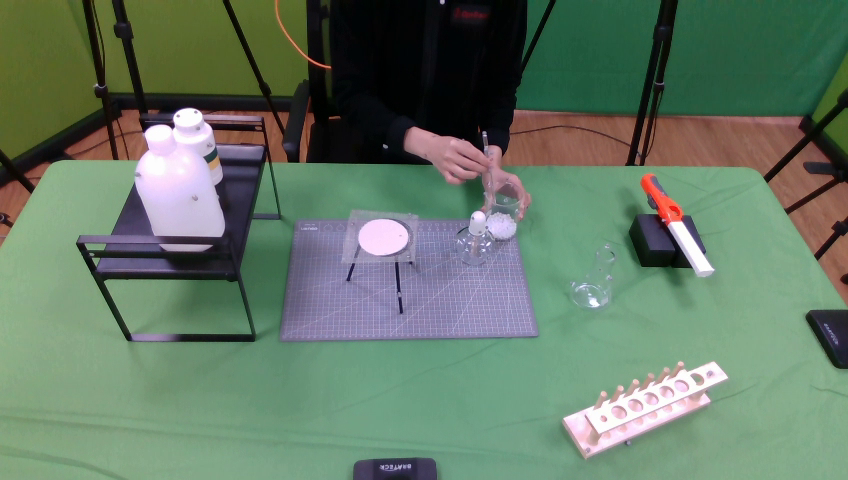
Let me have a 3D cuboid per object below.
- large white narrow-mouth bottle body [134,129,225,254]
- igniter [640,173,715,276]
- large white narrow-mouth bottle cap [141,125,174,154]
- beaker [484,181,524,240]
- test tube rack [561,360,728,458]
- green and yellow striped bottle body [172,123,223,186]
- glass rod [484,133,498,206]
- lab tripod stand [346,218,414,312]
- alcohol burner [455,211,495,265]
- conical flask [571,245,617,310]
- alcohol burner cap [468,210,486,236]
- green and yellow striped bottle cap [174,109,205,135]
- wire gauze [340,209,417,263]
[{"bbox_3d":[-0.358,-0.076,0.875,0.102,0.195,0.101,1,47,-1],"label":"large white narrow-mouth bottle body"},{"bbox_3d":[0.495,-0.039,1.204,0.057,0.025,0.274,-2,47,-12],"label":"igniter"},{"bbox_3d":[-0.356,-0.134,0.811,0.038,0.024,0.037,1,47,-1],"label":"large white narrow-mouth bottle cap"},{"bbox_3d":[0.157,-0.057,1.205,0.074,0.101,0.084,23,49,20],"label":"beaker"},{"bbox_3d":[0.341,0.247,0.940,0.243,0.085,0.066,-15,49,-18],"label":"test tube rack"},{"bbox_3d":[-0.373,-0.148,0.994,0.063,0.120,0.063,2,46,-2],"label":"green and yellow striped bottle body"},{"bbox_3d":[0.125,-0.125,1.117,0.008,0.201,0.008,-6,54,9],"label":"glass rod"},{"bbox_3d":[-0.070,0.037,1.075,0.148,0.132,0.147,1,47,-1],"label":"lab tripod stand"},{"bbox_3d":[0.097,-0.010,1.147,0.078,0.120,0.077,1,47,-1],"label":"alcohol burner"},{"bbox_3d":[0.313,0.064,1.089,0.075,0.122,0.075,2,46,-2],"label":"conical flask"},{"bbox_3d":[0.099,-0.034,1.119,0.034,0.048,0.033,0,52,0],"label":"alcohol burner cap"},{"bbox_3d":[-0.369,-0.186,0.954,0.045,0.020,0.045,3,50,-3],"label":"green and yellow striped bottle cap"},{"bbox_3d":[-0.074,-0.007,1.023,0.121,0.011,0.124,3,46,0],"label":"wire gauze"}]
